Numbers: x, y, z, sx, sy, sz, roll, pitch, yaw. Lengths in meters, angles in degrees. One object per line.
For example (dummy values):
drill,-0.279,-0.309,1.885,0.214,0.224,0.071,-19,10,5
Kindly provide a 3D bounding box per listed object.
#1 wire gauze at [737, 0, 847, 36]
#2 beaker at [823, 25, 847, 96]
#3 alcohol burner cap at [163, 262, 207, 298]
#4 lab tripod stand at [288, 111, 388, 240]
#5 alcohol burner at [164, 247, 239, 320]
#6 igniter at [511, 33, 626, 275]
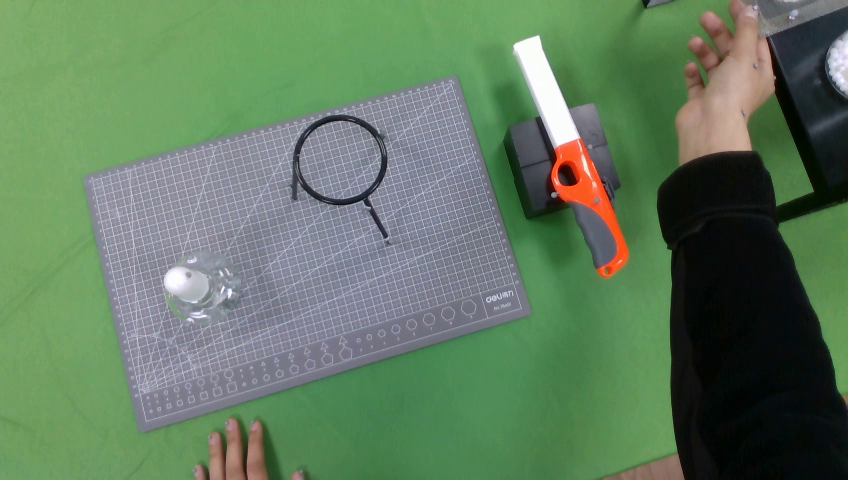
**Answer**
wire gauze,0.333,-0.261,0.557,0.125,0.011,0.121,-23,85,-2
beaker,0.390,-0.167,0.499,0.084,0.100,0.074,40,82,6
alcohol burner cap,-0.236,0.037,0.591,0.034,0.048,0.033,0,75,0
lab tripod stand,-0.082,-0.073,0.637,0.148,0.132,0.148,0,80,0
alcohol burner,-0.236,0.044,0.627,0.078,0.119,0.077,0,83,-2
igniter,0.155,-0.096,0.654,0.057,0.025,0.275,-19,80,-3
